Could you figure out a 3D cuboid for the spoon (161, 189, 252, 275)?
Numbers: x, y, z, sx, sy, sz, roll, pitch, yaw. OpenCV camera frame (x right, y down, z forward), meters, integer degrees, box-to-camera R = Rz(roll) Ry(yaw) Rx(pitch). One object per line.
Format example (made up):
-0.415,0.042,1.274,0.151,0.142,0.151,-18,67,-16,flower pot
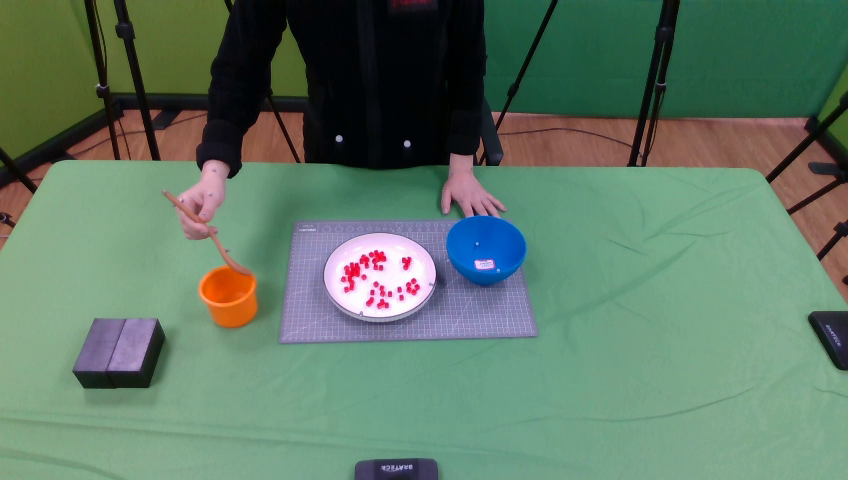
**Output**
-0.346,-0.010,0.970,0.021,0.194,0.041,-39,26,-8,spoon

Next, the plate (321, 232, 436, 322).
-0.083,0.070,1.109,0.209,0.038,0.208,3,46,-3,plate

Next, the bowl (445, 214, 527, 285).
0.112,0.031,1.134,0.151,0.077,0.150,2,46,-2,bowl
